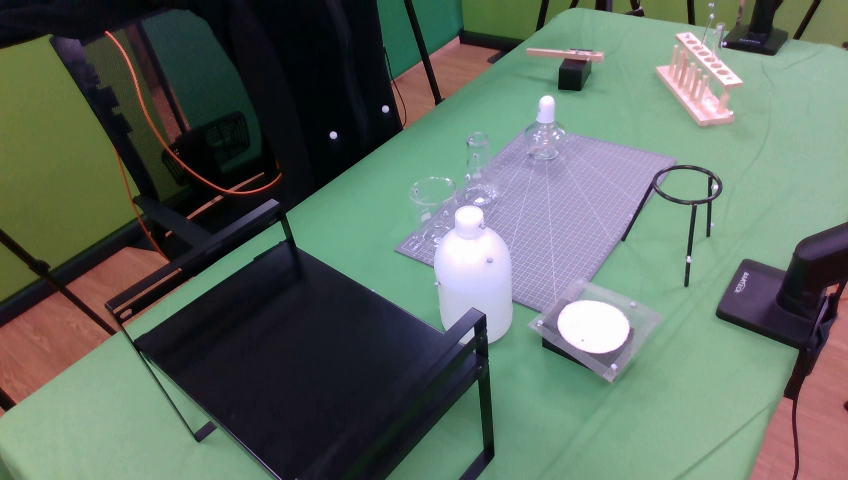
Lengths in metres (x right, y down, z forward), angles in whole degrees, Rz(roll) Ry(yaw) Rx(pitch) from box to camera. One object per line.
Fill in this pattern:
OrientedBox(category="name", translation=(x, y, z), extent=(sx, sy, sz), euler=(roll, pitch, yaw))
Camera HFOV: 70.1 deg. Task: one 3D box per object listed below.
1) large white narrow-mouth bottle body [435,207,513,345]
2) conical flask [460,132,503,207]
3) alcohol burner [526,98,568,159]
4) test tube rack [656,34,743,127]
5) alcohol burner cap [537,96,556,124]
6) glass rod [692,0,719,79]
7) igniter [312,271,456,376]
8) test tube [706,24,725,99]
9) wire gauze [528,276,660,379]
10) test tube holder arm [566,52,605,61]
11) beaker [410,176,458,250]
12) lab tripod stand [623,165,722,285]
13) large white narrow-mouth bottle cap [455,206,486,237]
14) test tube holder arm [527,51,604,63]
OrientedBox(category="large white narrow-mouth bottle body", translation=(0.065, 0.041, 0.791), extent=(0.102, 0.195, 0.101), euler=(-4, 41, 4))
OrientedBox(category="conical flask", translation=(0.096, -0.123, 1.030), extent=(0.075, 0.122, 0.075), euler=(-4, 40, 4))
OrientedBox(category="alcohol burner", translation=(0.228, -0.210, 1.118), extent=(0.078, 0.119, 0.077), euler=(-5, 43, 5))
OrientedBox(category="test tube rack", translation=(0.553, -0.330, 1.233), extent=(0.067, 0.085, 0.241), euler=(-7, 40, 2))
OrientedBox(category="alcohol burner cap", translation=(0.223, -0.238, 1.095), extent=(0.034, 0.048, 0.033), euler=(-2, 36, 2))
OrientedBox(category="glass rod", translation=(0.561, -0.401, 1.214), extent=(0.008, 0.200, 0.008), euler=(-1, 48, 2))
OrientedBox(category="igniter", translation=(-0.068, 0.111, 0.859), extent=(0.274, 0.025, 0.057), euler=(27, 61, 34))
OrientedBox(category="test tube", translation=(0.564, -0.342, 1.168), extent=(0.017, 0.151, 0.017), euler=(-7, 40, 6))
OrientedBox(category="wire gauze", translation=(0.214, 0.103, 0.763), extent=(0.124, 0.011, 0.122), euler=(30, 52, 35))
OrientedBox(category="test tube holder arm", translation=(0.352, -0.401, 1.325), extent=(0.087, 0.015, 0.010), euler=(15, 38, 31))
OrientedBox(category="beaker", translation=(0.022, -0.041, 0.963), extent=(0.073, 0.101, 0.084), euler=(28, 51, 35))
OrientedBox(category="lab tripod stand", translation=(0.365, -0.030, 0.875), extent=(0.148, 0.132, 0.147), euler=(-6, 41, 6))
OrientedBox(category="large white narrow-mouth bottle cap", translation=(0.057, -0.023, 0.734), extent=(0.038, 0.024, 0.037), euler=(-4, 40, 4))
OrientedBox(category="test tube holder arm", translation=(0.311, -0.408, 1.344), extent=(0.177, 0.015, 0.013), euler=(14, 38, 30))
